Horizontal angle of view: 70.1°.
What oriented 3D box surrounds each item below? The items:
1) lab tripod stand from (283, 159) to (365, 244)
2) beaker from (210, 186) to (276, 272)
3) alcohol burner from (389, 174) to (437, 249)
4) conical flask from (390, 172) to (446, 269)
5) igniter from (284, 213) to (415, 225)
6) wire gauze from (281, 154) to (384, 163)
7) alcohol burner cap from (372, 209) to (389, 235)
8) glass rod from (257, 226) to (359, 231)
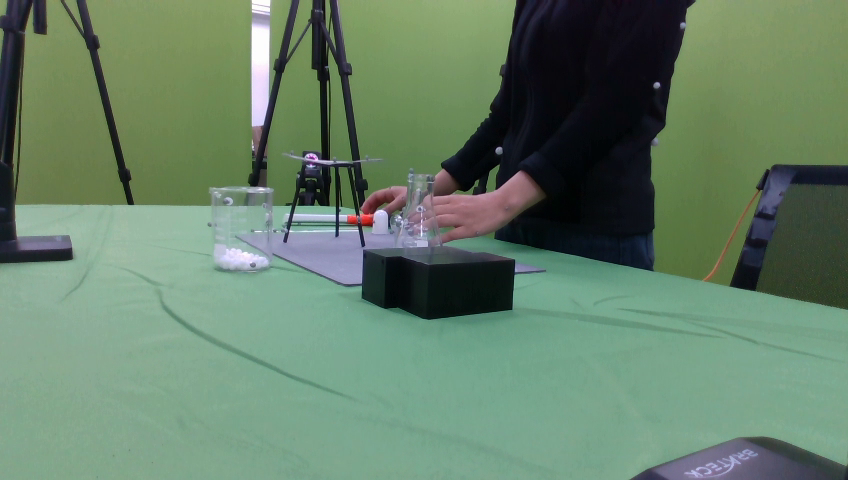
[{"bbox_3d":[-0.151,-0.063,0.983,0.148,0.131,0.148,4,7,0],"label":"lab tripod stand"},{"bbox_3d":[-0.224,-0.014,0.738,0.084,0.100,0.074,4,7,16],"label":"beaker"},{"bbox_3d":[-0.017,-0.046,0.974,0.078,0.119,0.078,2,6,0],"label":"alcohol burner"},{"bbox_3d":[-0.006,-0.027,0.790,0.075,0.122,0.075,2,7,0],"label":"conical flask"},{"bbox_3d":[-0.154,-0.046,1.282,0.278,0.025,0.057,0,-4,-20],"label":"igniter"},{"bbox_3d":[-0.146,-0.130,0.977,0.124,0.011,0.122,9,10,41],"label":"wire gauze"},{"bbox_3d":[-0.082,-0.035,1.143,0.034,0.048,0.034,2,6,0],"label":"alcohol burner cap"},{"bbox_3d":[-0.216,-0.022,1.151,0.201,0.008,0.008,-2,8,-28],"label":"glass rod"}]
